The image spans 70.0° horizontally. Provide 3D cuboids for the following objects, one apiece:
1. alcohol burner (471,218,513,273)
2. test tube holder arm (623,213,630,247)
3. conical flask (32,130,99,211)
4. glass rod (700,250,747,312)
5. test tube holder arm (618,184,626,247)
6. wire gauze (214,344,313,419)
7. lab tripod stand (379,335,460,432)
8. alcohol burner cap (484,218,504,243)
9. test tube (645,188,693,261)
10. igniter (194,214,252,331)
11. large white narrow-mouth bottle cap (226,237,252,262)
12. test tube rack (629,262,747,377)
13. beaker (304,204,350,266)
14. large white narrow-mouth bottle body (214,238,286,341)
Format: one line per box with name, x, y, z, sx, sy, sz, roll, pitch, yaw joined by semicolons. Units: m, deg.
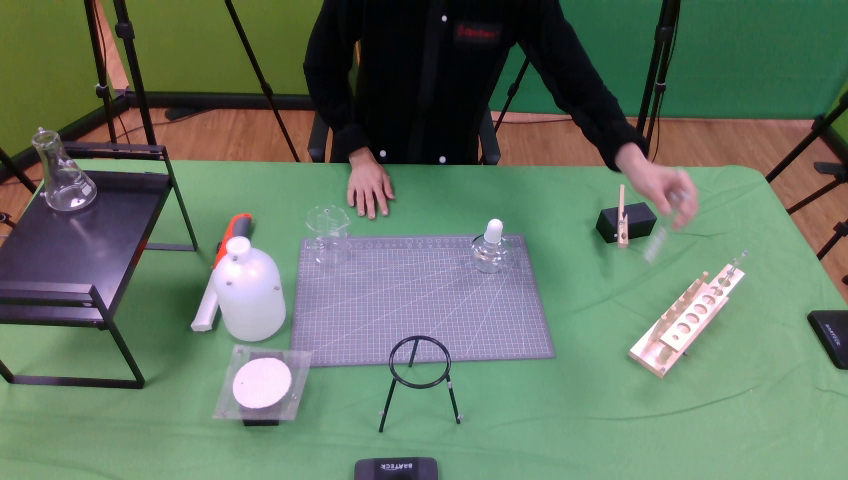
alcohol burner;0.128;0.005;1.132;0.078;0.120;0.077;0;47;0
test tube holder arm;0.393;-0.020;1.179;0.010;0.015;0.087;14;46;0
conical flask;-0.565;-0.111;0.944;0.075;0.122;0.075;2;46;-2
glass rod;0.500;0.074;1.021;0.008;0.201;0.008;0;55;1
test tube holder arm;0.396;-0.053;1.210;0.013;0.015;0.177;15;46;0
wire gauze;-0.241;0.213;0.915;0.121;0.011;0.124;5;46;1
lab tripod stand;-0.011;0.214;0.911;0.148;0.132;0.147;1;45;0
alcohol burner cap;0.130;-0.021;1.106;0.034;0.048;0.033;3;51;-3
test tube;0.371;-0.021;0.926;0.017;0.151;0.017;5;46;-5
igniter;-0.367;0.050;1.119;0.057;0.025;0.275;-4;46;7
large white narrow-mouth bottle cap;-0.282;0.014;0.923;0.038;0.024;0.037;2;46;-2
test tube rack;0.464;0.126;1.060;0.242;0.085;0.066;-34;56;-31
beaker;-0.178;-0.006;1.132;0.084;0.101;0.073;4;46;-1
large white narrow-mouth bottle body;-0.285;0.073;0.986;0.102;0.195;0.101;2;46;-2
